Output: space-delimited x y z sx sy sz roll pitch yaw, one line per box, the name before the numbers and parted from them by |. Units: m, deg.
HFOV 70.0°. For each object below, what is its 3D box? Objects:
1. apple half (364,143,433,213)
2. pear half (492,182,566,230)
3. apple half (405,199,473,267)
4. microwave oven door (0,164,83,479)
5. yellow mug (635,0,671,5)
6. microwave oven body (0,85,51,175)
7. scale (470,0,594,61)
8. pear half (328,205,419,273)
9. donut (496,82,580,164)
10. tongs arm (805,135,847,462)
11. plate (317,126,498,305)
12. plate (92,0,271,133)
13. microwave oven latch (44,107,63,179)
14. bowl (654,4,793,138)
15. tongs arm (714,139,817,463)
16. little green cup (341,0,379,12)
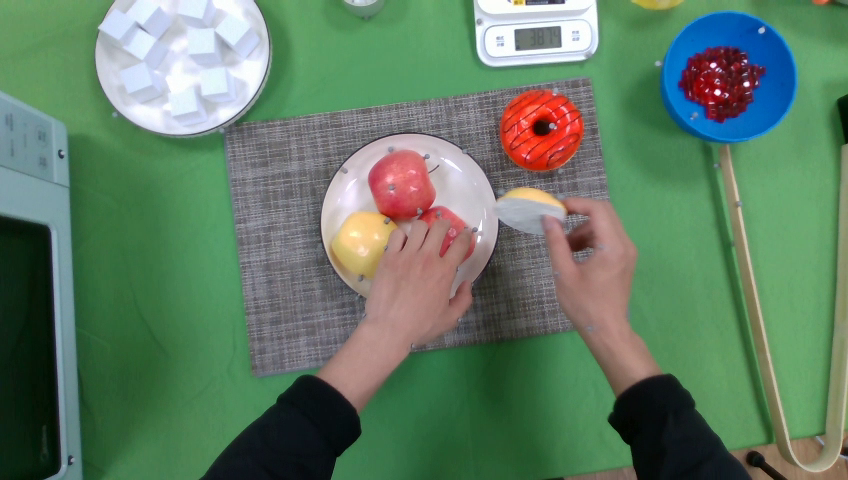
apple half | -0.031 -0.072 0.695 0.074 0.053 0.080 -16 89 1
pear half | 0.109 -0.039 0.604 0.071 0.088 0.031 26 66 -26
apple half | 0.016 -0.007 0.703 0.081 0.033 0.081 0 85 0
microwave oven door | -0.418 0.098 0.580 0.039 0.244 0.355 -6 85 -1
yellow mug | 0.274 -0.357 0.725 0.100 0.064 0.130 -41 86 -3
microwave oven body | -0.567 0.070 0.586 0.326 0.260 0.440 -5 86 -1
scale | 0.129 -0.323 0.739 0.149 0.031 0.200 -4 86 0
pear half | -0.052 0.005 0.691 0.110 0.056 0.076 26 87 -8
donut | 0.133 -0.138 0.715 0.099 0.048 0.099 0 87 2
tongs arm | 0.484 0.064 0.715 0.028 0.028 0.386 7 86 -7
plate | -0.019 -0.027 0.709 0.209 0.038 0.208 0 85 0
plate | -0.284 -0.227 0.726 0.208 0.039 0.207 0 85 0
microwave oven latch | -0.436 -0.111 0.697 0.030 0.029 0.079 -4 86 -1
bowl | 0.334 -0.185 0.708 0.151 0.077 0.151 0 86 0
tongs arm | 0.398 0.068 0.710 0.051 0.026 0.384 -8 87 -5
little green cup | -0.079 -0.310 0.734 0.061 0.038 0.061 0 85 0
